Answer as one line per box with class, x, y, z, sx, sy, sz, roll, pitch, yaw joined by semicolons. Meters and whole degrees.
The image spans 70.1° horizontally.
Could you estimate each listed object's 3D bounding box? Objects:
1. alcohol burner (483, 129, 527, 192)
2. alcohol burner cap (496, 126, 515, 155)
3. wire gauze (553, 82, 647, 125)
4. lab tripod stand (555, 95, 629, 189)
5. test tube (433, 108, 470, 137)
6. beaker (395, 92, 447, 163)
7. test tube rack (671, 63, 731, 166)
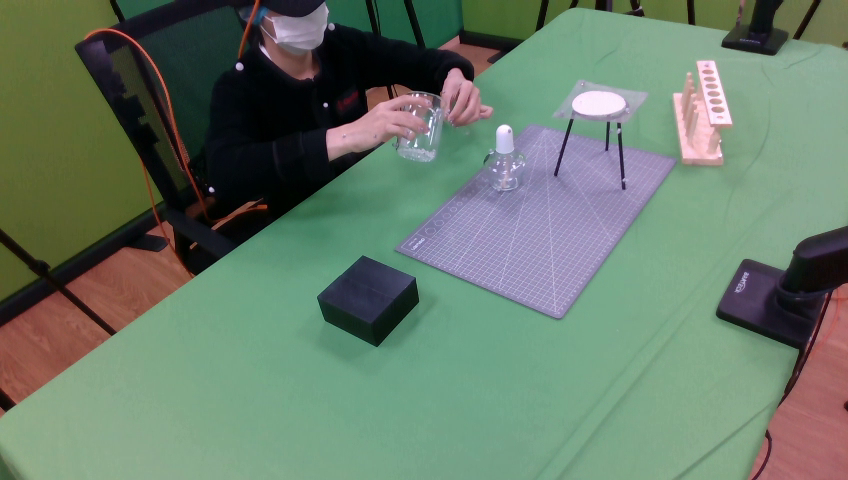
alcohol burner;0.141;-0.144;1.050;0.078;0.119;0.077;-4;42;4
alcohol burner cap;0.138;-0.172;1.028;0.034;0.048;0.033;-5;38;4
wire gauze;0.293;-0.225;1.002;0.120;0.011;0.125;17;45;27
lab tripod stand;0.300;-0.174;1.045;0.148;0.132;0.147;-5;38;5
test tube;0.053;-0.214;1.111;0.017;0.017;0.151;14;1;25
beaker;-0.005;-0.184;1.005;0.073;0.084;0.100;7;82;30
test tube rack;0.513;-0.241;1.132;0.066;0.085;0.242;4;41;14
